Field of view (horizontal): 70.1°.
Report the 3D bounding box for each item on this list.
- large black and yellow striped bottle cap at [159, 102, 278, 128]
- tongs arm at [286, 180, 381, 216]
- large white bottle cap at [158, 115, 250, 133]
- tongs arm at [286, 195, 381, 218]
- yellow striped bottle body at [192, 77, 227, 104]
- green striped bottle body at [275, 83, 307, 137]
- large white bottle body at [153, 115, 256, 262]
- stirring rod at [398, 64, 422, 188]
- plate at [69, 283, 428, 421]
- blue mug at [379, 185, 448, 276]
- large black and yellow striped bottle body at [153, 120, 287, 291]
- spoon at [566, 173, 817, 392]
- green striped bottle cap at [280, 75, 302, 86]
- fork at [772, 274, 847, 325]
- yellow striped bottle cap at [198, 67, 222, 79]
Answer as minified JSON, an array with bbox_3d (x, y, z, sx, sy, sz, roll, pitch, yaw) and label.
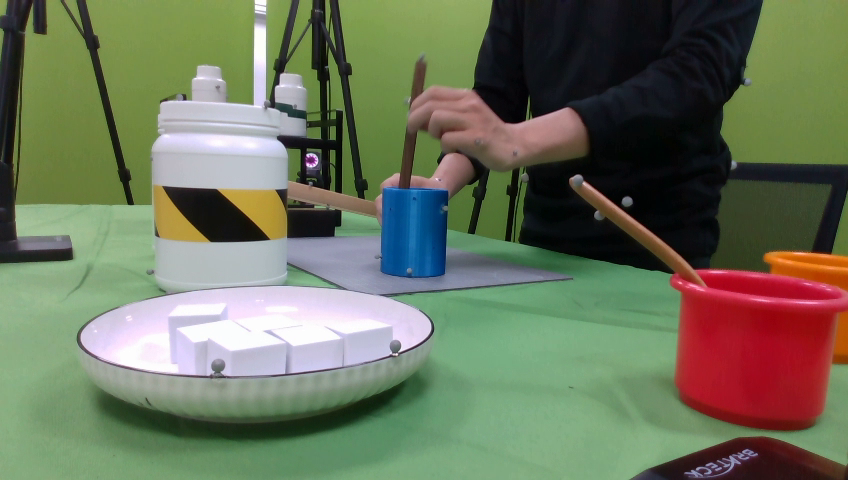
[{"bbox_3d":[-0.207,-0.125,0.615,0.115,0.019,0.115,2,6,0],"label":"large black and yellow striped bottle cap"},{"bbox_3d":[-0.122,-0.066,1.147,0.387,0.026,0.050,11,-2,-37],"label":"tongs arm"},{"bbox_3d":[-0.291,-0.153,0.803,0.115,0.018,0.115,1,7,0],"label":"large white bottle cap"},{"bbox_3d":[-0.165,-0.074,1.216,0.389,0.027,0.028,11,-6,-24],"label":"tongs arm"},{"bbox_3d":[-0.414,-0.268,1.169,0.063,0.120,0.063,2,7,0],"label":"yellow striped bottle body"},{"bbox_3d":[-0.269,-0.269,1.221,0.063,0.119,0.063,2,7,0],"label":"green striped bottle body"},{"bbox_3d":[-0.293,-0.070,0.813,0.131,0.184,0.130,2,7,0],"label":"large white bottle body"},{"bbox_3d":[-0.018,-0.116,0.710,0.014,0.176,0.006,10,11,18],"label":"stirring rod"},{"bbox_3d":[-0.102,0.066,0.380,0.208,0.039,0.207,2,7,0],"label":"plate"},{"bbox_3d":[-0.019,-0.016,0.764,0.083,0.106,0.116,-1,7,-21],"label":"blue mug"},{"bbox_3d":[-0.208,-0.042,0.626,0.131,0.184,0.130,2,7,0],"label":"large black and yellow striped bottle body"},{"bbox_3d":[0.161,0.024,0.370,0.193,0.021,0.042,47,17,3],"label":"spoon"},{"bbox_3d":[-0.267,-0.320,1.216,0.044,0.020,0.044,4,8,0],"label":"green striped bottle cap"},{"bbox_3d":[0.332,0.019,0.444,0.028,0.018,0.207,0,-36,-14],"label":"fork"},{"bbox_3d":[-0.412,-0.320,1.162,0.044,0.018,0.044,1,6,0],"label":"yellow striped bottle cap"}]
